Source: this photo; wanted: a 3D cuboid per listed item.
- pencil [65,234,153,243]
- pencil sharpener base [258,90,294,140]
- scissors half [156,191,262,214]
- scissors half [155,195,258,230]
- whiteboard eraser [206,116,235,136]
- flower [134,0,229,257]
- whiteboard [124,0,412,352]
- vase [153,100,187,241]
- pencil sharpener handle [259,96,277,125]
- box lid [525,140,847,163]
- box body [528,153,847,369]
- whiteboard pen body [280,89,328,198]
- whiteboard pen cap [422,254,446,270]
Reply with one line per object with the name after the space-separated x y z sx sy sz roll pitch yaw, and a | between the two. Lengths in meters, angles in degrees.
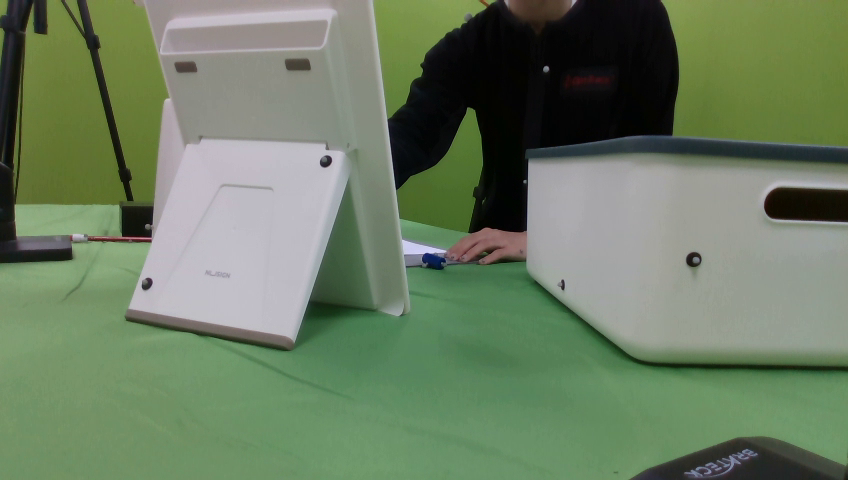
-0.429 0.000 0.910 0.195 0.012 0.012 2 7 -19 | pencil
-0.341 -0.285 1.388 0.062 0.107 0.076 -3 9 -36 | pencil sharpener base
-0.371 -0.068 1.051 0.176 0.040 0.013 2 25 -24 | scissors half
-0.378 -0.051 1.058 0.176 0.040 0.012 20 22 -31 | scissors half
-0.449 -0.251 1.335 0.056 0.042 0.112 1 7 -22 | whiteboard eraser
-0.282 -0.146 0.713 0.038 0.362 0.044 -23 23 -31 | flower
-0.151 -0.049 0.471 0.216 0.305 0.144 6 27 24 | whiteboard
-0.278 -0.066 0.736 0.098 0.200 0.098 2 9 0 | vase
-0.373 -0.304 1.425 0.036 0.067 0.030 13 -1 -37 | pencil sharpener handle
0.261 -0.078 0.580 0.264 0.015 0.371 2 7 -4 | box lid
0.258 -0.005 0.591 0.254 0.160 0.363 2 7 -4 | box body
-0.118 -0.096 0.588 0.017 0.140 0.017 8 -34 6 | whiteboard pen body
0.013 0.029 0.806 0.018 0.018 0.033 -4 14 -42 | whiteboard pen cap
